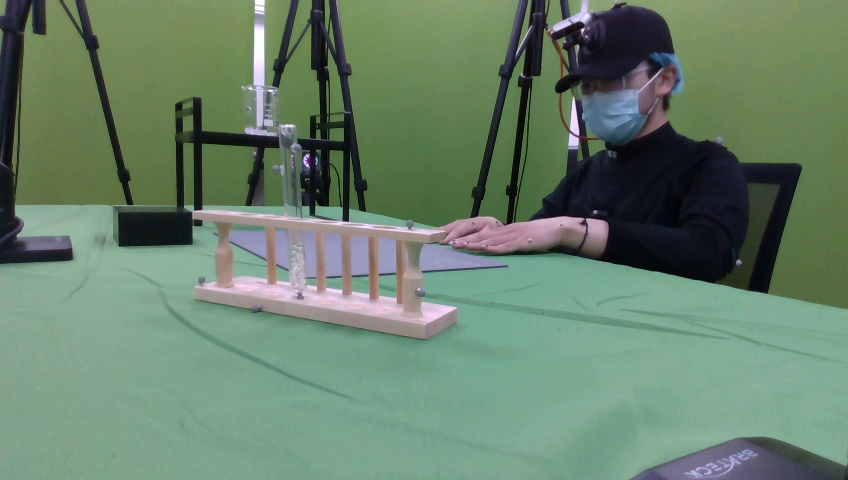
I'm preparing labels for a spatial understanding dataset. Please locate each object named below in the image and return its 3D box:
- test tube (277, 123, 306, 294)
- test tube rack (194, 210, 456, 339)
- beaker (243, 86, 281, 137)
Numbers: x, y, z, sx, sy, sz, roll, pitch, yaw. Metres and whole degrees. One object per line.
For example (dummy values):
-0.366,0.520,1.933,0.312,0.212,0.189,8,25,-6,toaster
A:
-0.116,-0.027,0.530,0.017,0.150,0.017,-2,8,1,test tube
-0.093,0.023,0.546,0.241,0.085,0.067,6,8,25,test tube rack
-0.338,-0.265,1.253,0.073,0.100,0.084,8,9,38,beaker
